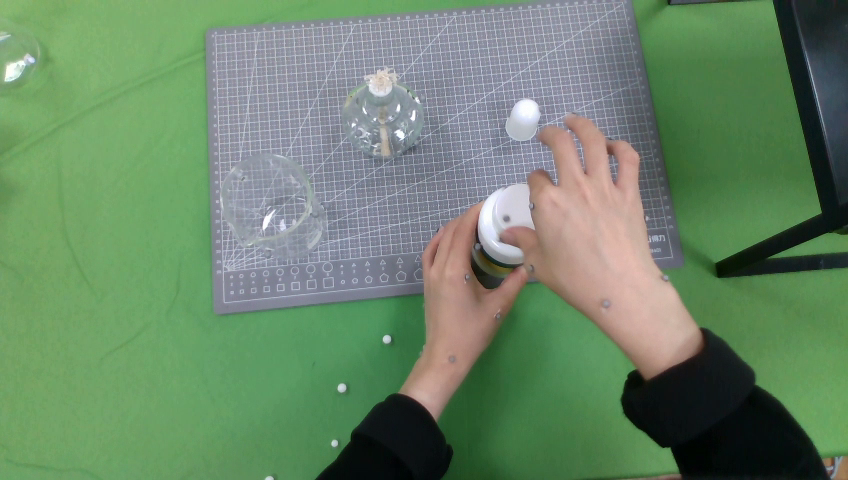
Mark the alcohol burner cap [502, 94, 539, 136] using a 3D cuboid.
[{"bbox_3d":[0.097,-0.126,0.595,0.034,0.048,0.033,0,77,-1],"label":"alcohol burner cap"}]

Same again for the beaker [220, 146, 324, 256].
[{"bbox_3d":[-0.131,-0.027,0.540,0.074,0.100,0.083,22,78,5],"label":"beaker"}]

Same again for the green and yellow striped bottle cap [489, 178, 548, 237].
[{"bbox_3d":[0.074,-0.026,0.473,0.045,0.020,0.045,0,79,-1],"label":"green and yellow striped bottle cap"}]

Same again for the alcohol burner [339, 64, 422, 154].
[{"bbox_3d":[-0.040,-0.125,0.556,0.078,0.119,0.077,1,76,-2],"label":"alcohol burner"}]

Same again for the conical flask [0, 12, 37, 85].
[{"bbox_3d":[-0.432,-0.204,0.564,0.075,0.122,0.075,0,77,0],"label":"conical flask"}]

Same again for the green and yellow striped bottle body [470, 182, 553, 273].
[{"bbox_3d":[0.075,-0.012,0.529,0.063,0.120,0.063,0,77,0],"label":"green and yellow striped bottle body"}]
